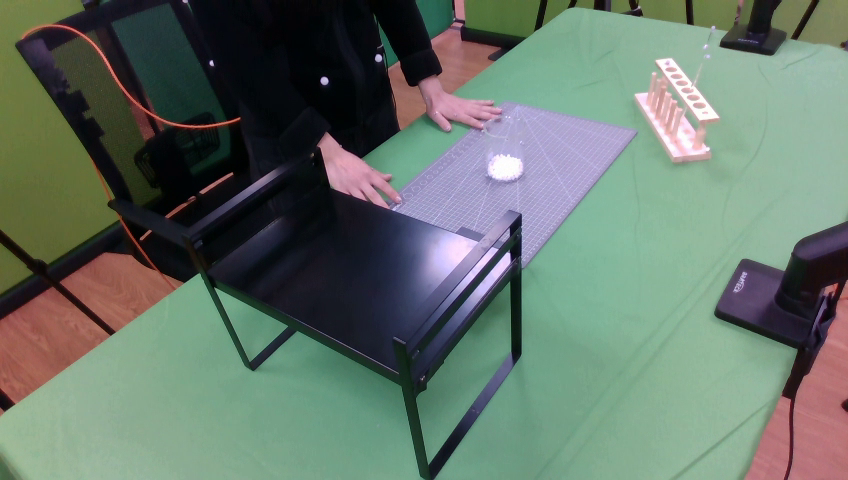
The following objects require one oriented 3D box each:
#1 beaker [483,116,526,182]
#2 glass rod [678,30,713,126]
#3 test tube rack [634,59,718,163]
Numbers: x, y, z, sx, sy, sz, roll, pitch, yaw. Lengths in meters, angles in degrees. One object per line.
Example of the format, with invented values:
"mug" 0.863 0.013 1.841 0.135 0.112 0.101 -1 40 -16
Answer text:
"beaker" 0.147 -0.162 1.079 0.073 0.101 0.084 12 44 22
"glass rod" 0.485 -0.284 1.084 0.008 0.200 0.008 -2 49 2
"test tube rack" 0.470 -0.250 1.148 0.067 0.085 0.241 -6 40 3
